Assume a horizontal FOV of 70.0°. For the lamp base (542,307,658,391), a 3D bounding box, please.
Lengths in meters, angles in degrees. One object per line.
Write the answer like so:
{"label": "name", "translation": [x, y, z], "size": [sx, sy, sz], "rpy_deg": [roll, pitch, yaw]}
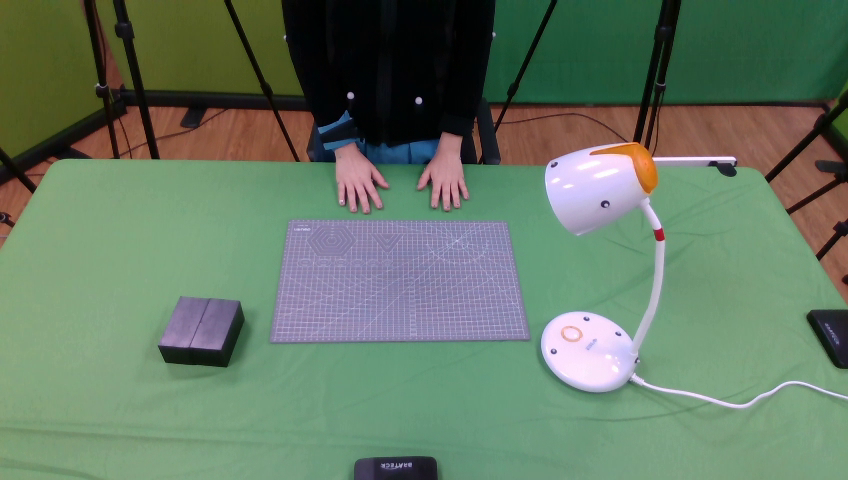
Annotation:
{"label": "lamp base", "translation": [0.296, 0.138, 0.975], "size": [0.178, 0.181, 0.160], "rpy_deg": [28, 51, 18]}

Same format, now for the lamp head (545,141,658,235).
{"label": "lamp head", "translation": [0.237, -0.072, 0.784], "size": [0.123, 0.113, 0.112], "rpy_deg": [-16, 33, 37]}
